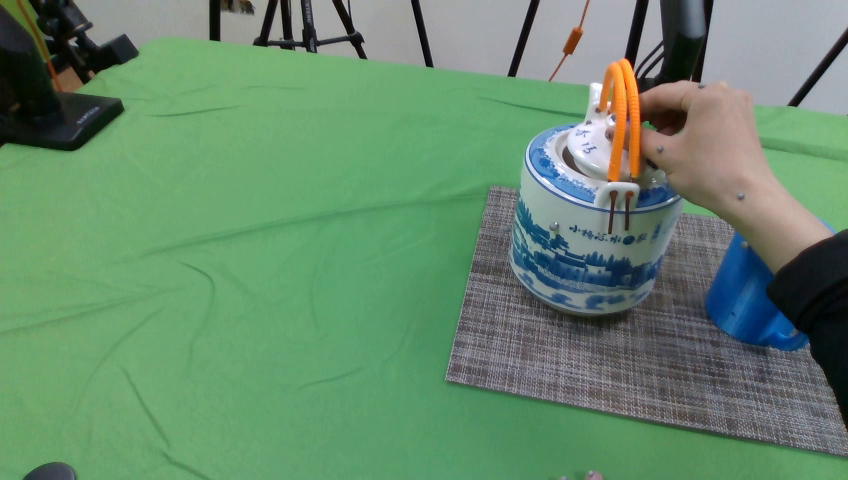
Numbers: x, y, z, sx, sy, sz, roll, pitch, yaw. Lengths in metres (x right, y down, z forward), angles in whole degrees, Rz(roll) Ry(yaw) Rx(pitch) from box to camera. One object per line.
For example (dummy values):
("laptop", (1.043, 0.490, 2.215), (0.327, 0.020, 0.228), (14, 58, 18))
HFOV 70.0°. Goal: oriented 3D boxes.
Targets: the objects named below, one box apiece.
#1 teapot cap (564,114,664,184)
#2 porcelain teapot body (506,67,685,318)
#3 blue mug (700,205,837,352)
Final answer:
("teapot cap", (0.161, -0.083, 0.513), (0.085, 0.044, 0.084), (2, 40, -1))
("porcelain teapot body", (0.160, -0.064, 0.577), (0.145, 0.227, 0.203), (4, 40, 2))
("blue mug", (0.316, 0.043, 0.549), (0.082, 0.107, 0.115), (-2, 41, -4))
